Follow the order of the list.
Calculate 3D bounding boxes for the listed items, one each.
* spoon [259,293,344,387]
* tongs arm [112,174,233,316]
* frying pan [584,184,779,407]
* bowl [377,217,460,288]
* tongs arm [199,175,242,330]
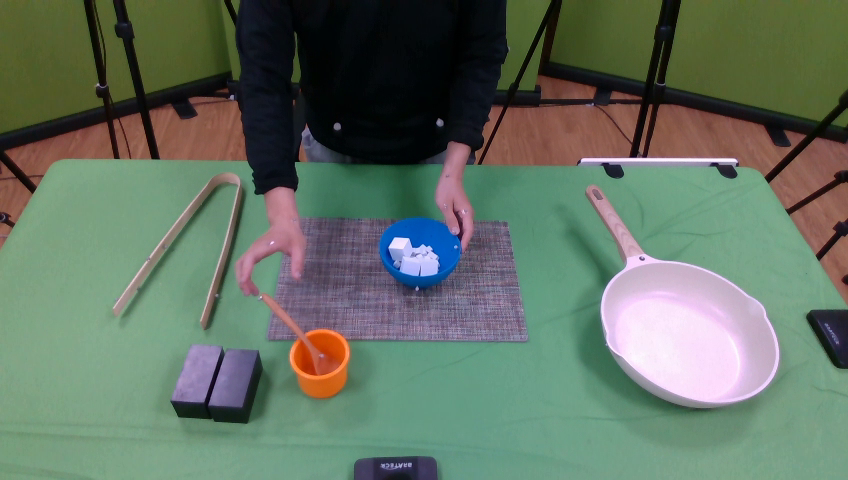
[{"bbox_3d":[-0.191,0.155,0.947,0.021,0.194,0.041,-13,27,50],"label":"spoon"},{"bbox_3d":[-0.467,-0.005,1.157,0.051,0.026,0.383,11,45,4],"label":"tongs arm"},{"bbox_3d":[0.412,0.079,1.097,0.307,0.103,0.484,-10,56,-15],"label":"frying pan"},{"bbox_3d":[-0.011,0.036,1.118,0.151,0.077,0.150,2,46,-2],"label":"bowl"},{"bbox_3d":[-0.387,0.008,1.158,0.028,0.028,0.385,-1,46,-3],"label":"tongs arm"}]
